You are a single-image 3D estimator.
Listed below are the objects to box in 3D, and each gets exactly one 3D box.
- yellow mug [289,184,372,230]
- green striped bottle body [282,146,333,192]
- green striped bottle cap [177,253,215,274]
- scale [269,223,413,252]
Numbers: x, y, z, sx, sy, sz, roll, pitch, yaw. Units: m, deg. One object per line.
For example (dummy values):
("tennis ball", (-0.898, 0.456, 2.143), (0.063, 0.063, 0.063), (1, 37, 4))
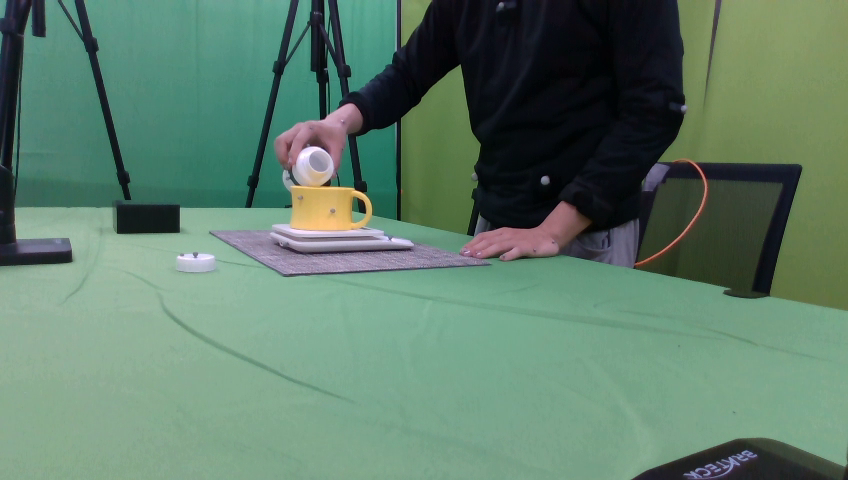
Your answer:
("yellow mug", (-0.145, -0.052, 0.943), (0.131, 0.064, 0.100), (4, 6, 9))
("green striped bottle body", (-0.193, -0.117, 1.009), (0.063, 0.063, 0.119), (-1, -8, -28))
("green striped bottle cap", (-0.279, 0.028, 0.741), (0.044, 0.020, 0.044), (4, 6, 0))
("scale", (-0.132, -0.007, 0.965), (0.202, 0.031, 0.148), (-2, 8, -31))
